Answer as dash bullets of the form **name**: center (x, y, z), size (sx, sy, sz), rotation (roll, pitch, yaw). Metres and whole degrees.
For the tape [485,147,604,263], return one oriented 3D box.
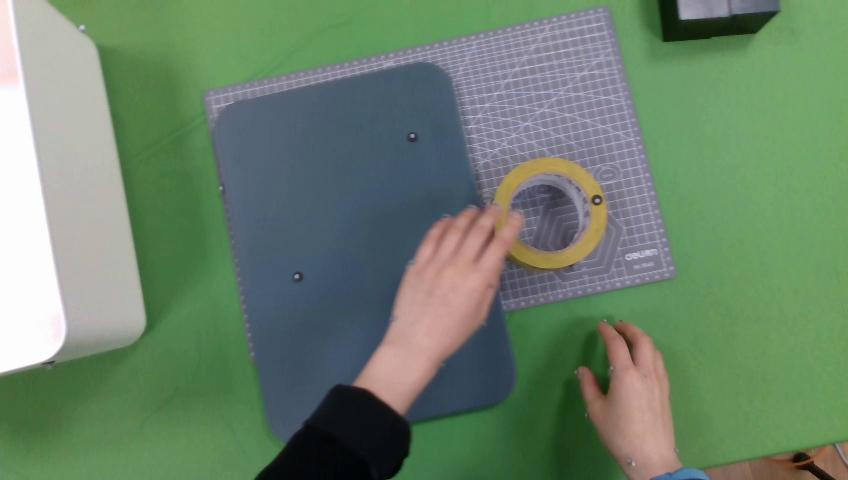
- **tape**: center (0.121, -0.032, 0.609), size (0.117, 0.053, 0.116), rotation (0, 85, 3)

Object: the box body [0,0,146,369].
- **box body**: center (-0.444, -0.050, 0.580), size (0.254, 0.160, 0.363), rotation (-14, 85, 1)

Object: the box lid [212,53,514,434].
- **box lid**: center (-0.067, -0.002, 0.635), size (0.263, 0.015, 0.370), rotation (-12, 85, 1)
